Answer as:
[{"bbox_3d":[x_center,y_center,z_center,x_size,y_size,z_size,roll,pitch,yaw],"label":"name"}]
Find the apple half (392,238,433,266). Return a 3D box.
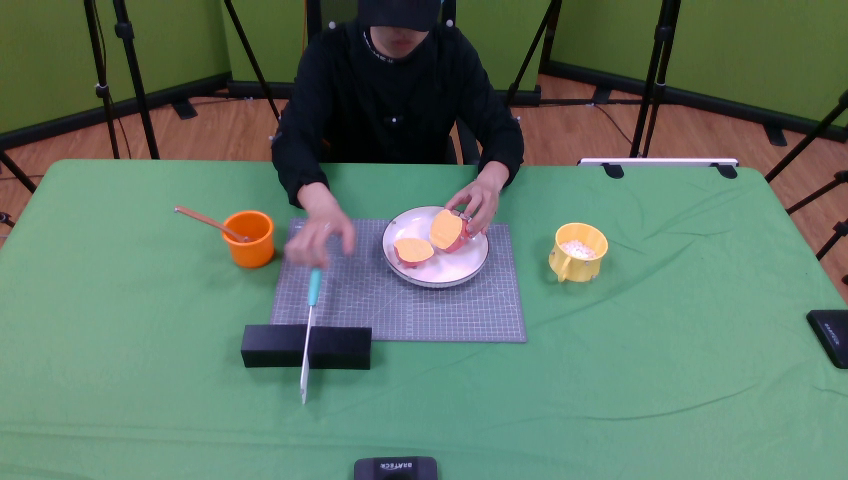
[{"bbox_3d":[-0.023,0.028,1.147,0.081,0.033,0.081,8,33,-5],"label":"apple half"}]

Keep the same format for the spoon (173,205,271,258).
[{"bbox_3d":[-0.362,-0.017,1.098,0.021,0.195,0.041,-32,42,27],"label":"spoon"}]

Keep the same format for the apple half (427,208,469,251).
[{"bbox_3d":[0.051,-0.015,1.167,0.080,0.053,0.074,29,94,40],"label":"apple half"}]

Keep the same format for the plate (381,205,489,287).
[{"bbox_3d":[0.021,0.015,1.171,0.209,0.038,0.208,2,46,-2],"label":"plate"}]

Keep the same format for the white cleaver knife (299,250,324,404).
[{"bbox_3d":[-0.194,0.134,1.019,0.021,0.066,0.284,6,50,-6],"label":"white cleaver knife"}]

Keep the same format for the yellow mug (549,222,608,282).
[{"bbox_3d":[0.287,0.031,1.159,0.099,0.064,0.130,28,51,21],"label":"yellow mug"}]
